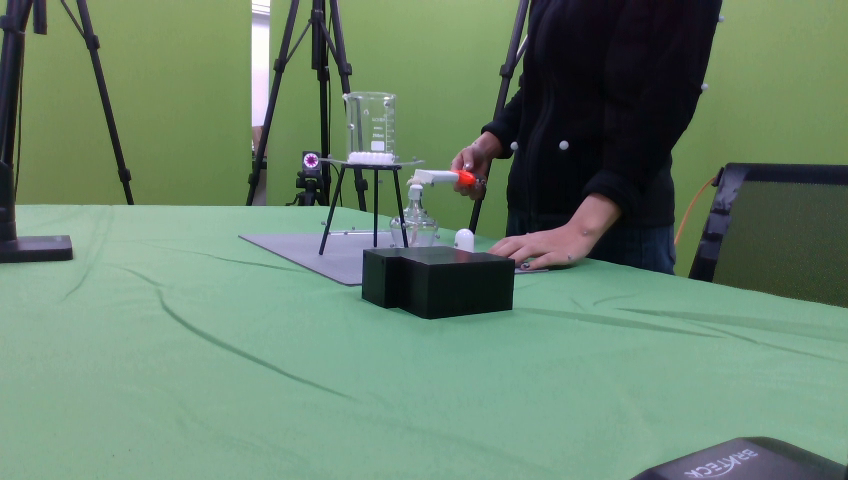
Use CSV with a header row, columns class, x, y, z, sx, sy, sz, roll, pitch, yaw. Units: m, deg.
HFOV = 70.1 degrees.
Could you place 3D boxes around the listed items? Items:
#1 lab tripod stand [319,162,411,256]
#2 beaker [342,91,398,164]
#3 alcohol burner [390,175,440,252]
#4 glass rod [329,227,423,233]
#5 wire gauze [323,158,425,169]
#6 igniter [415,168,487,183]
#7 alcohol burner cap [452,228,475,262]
class,x,y,z,sx,sy,sz,roll,pitch,yaw
lab tripod stand,-0.081,-0.047,0.879,0.148,0.131,0.148,2,9,0
beaker,-0.079,-0.160,0.867,0.084,0.100,0.073,-5,10,-34
alcohol burner,-0.014,-0.041,0.932,0.078,0.119,0.078,1,9,0
glass rod,-0.087,-0.019,1.148,0.201,0.008,0.008,-3,8,-32
wire gauze,-0.080,-0.112,0.869,0.122,0.011,0.124,-6,12,-35
igniter,0.055,-0.114,1.072,0.057,0.025,0.277,17,11,21
alcohol burner cap,0.058,0.006,0.872,0.034,0.048,0.034,3,7,0
